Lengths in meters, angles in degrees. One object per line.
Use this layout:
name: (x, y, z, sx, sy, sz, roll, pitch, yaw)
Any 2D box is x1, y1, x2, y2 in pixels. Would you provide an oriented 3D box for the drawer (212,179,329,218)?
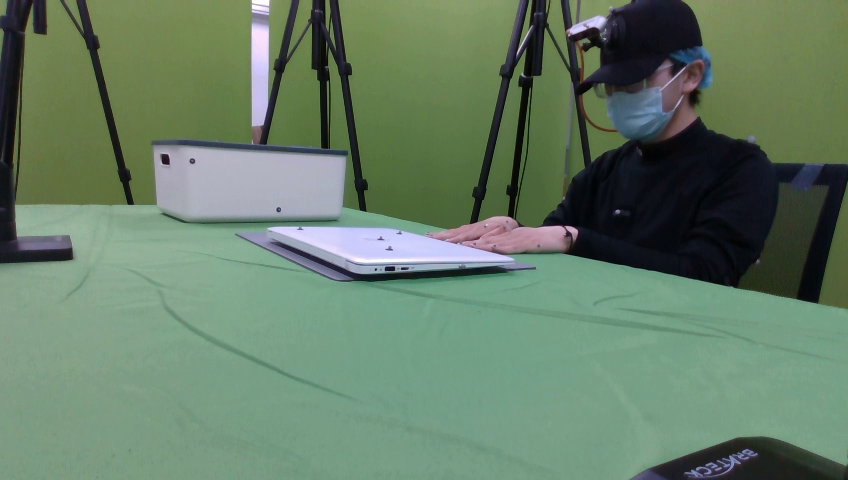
drawer: (-0.348, -0.097, 1.365, 0.213, 0.073, 0.193, 0, 10, -32)

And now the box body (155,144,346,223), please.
box body: (-0.383, -0.131, 1.346, 0.366, 0.160, 0.253, -3, 9, -36)

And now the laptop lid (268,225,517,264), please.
laptop lid: (-0.063, 0.002, 0.877, 0.243, 0.013, 0.355, 1, 7, -30)

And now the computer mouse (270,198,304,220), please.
computer mouse: (-0.319, -0.073, 1.402, 0.063, 0.041, 0.116, 4, 13, -24)

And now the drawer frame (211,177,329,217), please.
drawer frame: (-0.349, -0.101, 1.365, 0.215, 0.082, 0.200, -4, 9, -32)

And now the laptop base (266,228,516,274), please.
laptop base: (-0.065, 0.014, 0.877, 0.237, 0.023, 0.352, 2, 6, -32)

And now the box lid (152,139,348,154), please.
box lid: (-0.379, -0.205, 1.338, 0.373, 0.015, 0.262, -3, 10, -36)
